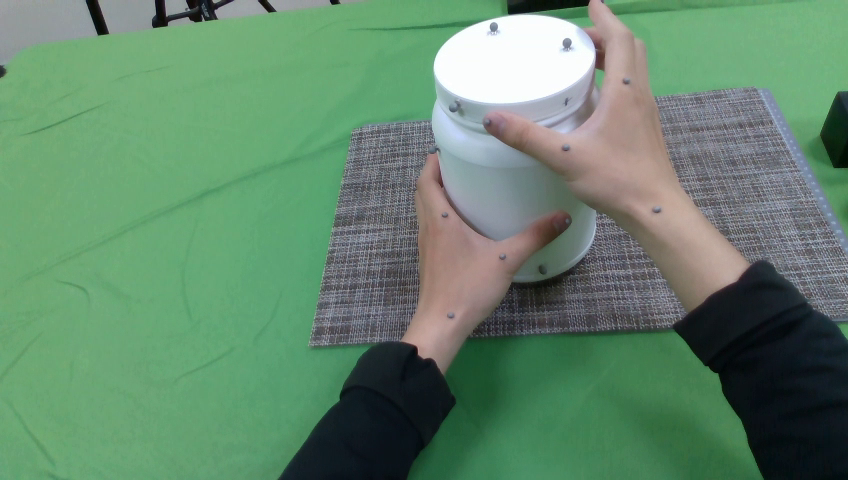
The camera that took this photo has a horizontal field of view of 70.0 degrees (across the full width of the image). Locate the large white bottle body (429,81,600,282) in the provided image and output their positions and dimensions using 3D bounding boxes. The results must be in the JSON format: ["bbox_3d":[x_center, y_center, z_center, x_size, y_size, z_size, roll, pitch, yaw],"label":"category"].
[{"bbox_3d":[0.076,-0.068,0.497,0.130,0.186,0.129,-6,47,7],"label":"large white bottle body"}]

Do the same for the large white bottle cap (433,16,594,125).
[{"bbox_3d":[0.063,-0.124,0.435,0.115,0.018,0.113,-6,47,7],"label":"large white bottle cap"}]
